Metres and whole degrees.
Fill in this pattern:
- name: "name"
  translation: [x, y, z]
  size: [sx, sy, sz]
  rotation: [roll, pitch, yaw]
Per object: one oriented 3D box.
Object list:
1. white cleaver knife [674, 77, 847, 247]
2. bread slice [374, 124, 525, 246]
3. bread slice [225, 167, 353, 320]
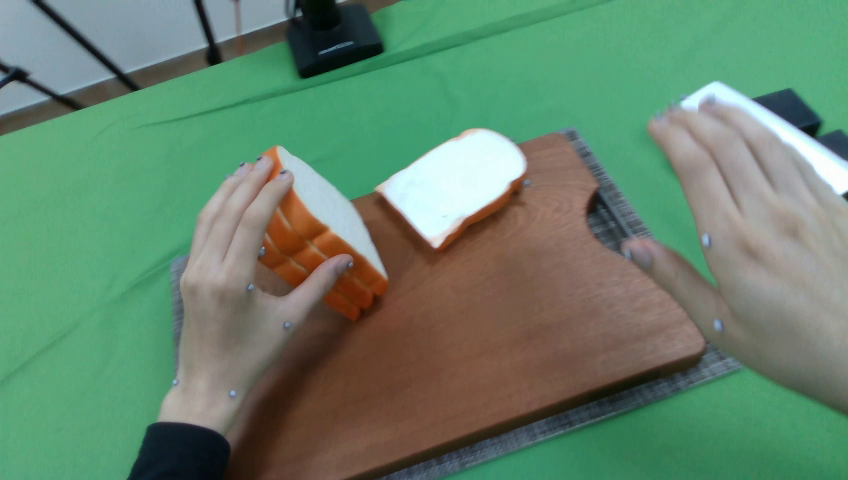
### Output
- name: "white cleaver knife"
  translation: [0.321, -0.056, 0.499]
  size: [0.066, 0.022, 0.283]
  rotation: [-27, 54, -8]
- name: "bread slice"
  translation: [0.032, -0.058, 0.577]
  size: [0.131, 0.019, 0.103]
  rotation: [-35, 51, -10]
- name: "bread slice"
  translation: [-0.110, -0.003, 0.500]
  size: [0.018, 0.136, 0.105]
  rotation: [-34, 49, 9]
